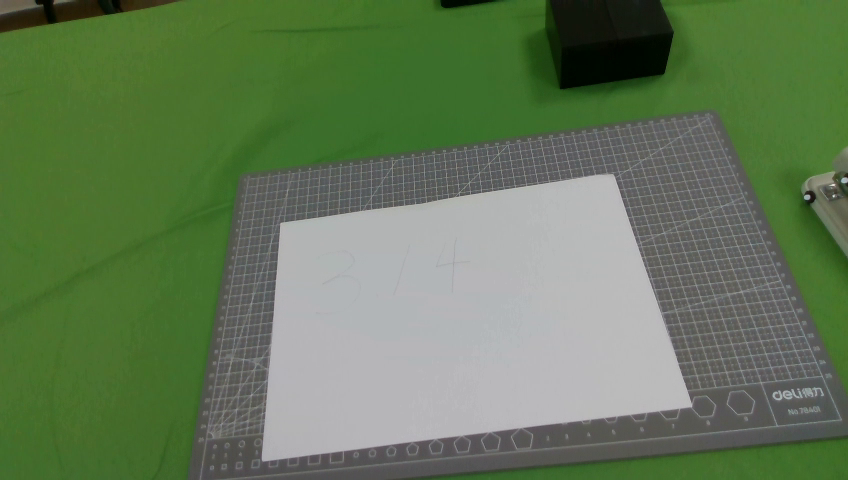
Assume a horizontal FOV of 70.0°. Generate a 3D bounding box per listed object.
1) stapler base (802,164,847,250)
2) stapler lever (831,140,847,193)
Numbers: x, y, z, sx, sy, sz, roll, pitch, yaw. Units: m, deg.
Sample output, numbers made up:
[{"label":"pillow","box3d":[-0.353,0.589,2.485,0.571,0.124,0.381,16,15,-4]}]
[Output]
[{"label":"stapler base","box3d":[0.334,-0.011,0.451,0.041,0.025,0.129,-15,57,3]},{"label":"stapler lever","box3d":[0.331,-0.023,0.429,0.027,0.040,0.117,-15,57,3]}]
